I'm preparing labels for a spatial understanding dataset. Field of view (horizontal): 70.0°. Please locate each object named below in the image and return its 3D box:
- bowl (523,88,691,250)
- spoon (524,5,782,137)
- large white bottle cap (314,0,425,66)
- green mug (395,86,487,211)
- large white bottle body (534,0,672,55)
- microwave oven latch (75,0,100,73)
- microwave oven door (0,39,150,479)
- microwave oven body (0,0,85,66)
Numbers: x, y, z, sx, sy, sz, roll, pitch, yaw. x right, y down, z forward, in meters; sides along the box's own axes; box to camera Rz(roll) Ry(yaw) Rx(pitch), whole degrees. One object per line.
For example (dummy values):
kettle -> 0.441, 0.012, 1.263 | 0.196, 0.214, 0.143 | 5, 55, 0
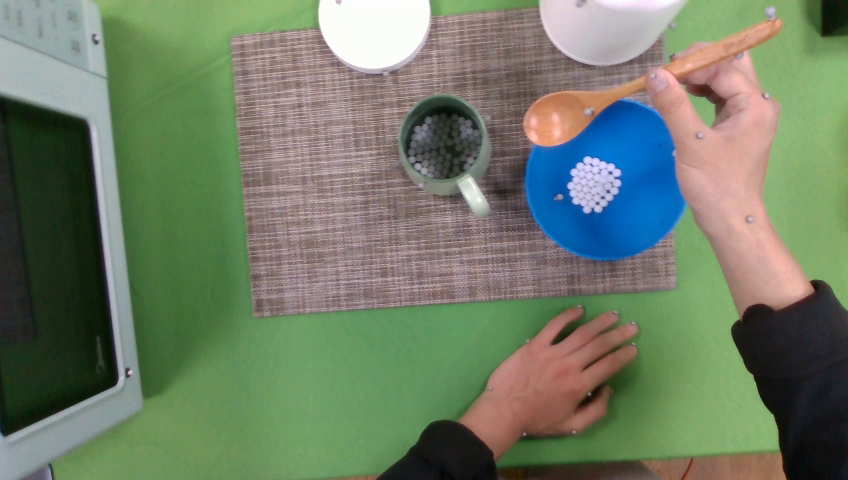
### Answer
bowl -> 0.169, -0.066, 0.591 | 0.151, 0.077, 0.151 | 0, 93, 4
spoon -> 0.155, -0.119, 0.442 | 0.193, 0.021, 0.042 | -16, 102, 46
large white bottle cap -> -0.056, -0.239, 0.625 | 0.115, 0.018, 0.115 | 0, 92, 3
green mug -> 0.025, -0.084, 0.586 | 0.092, 0.105, 0.125 | -31, 91, 4
large white bottle body -> 0.168, -0.253, 0.527 | 0.130, 0.185, 0.130 | 0, 89, 4
microwave oven latch -> -0.357, -0.213, 0.622 | 0.030, 0.029, 0.079 | -6, 94, 3
microwave oven door -> -0.342, 0.009, 0.533 | 0.039, 0.244, 0.356 | -7, 93, 5
microwave oven body -> -0.491, -0.017, 0.545 | 0.326, 0.260, 0.442 | -6, 93, 3
